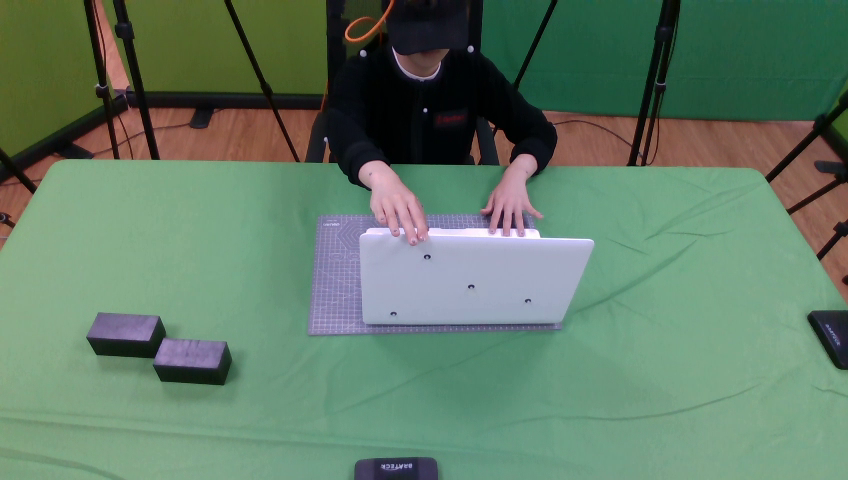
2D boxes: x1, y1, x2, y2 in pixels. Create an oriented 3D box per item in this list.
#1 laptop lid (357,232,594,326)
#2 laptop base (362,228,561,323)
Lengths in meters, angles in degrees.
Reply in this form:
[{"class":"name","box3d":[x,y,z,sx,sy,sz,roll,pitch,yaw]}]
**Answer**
[{"class":"laptop lid","box3d":[0.074,0.070,0.970,0.357,0.243,0.013,2,48,-4]},{"class":"laptop base","box3d":[0.064,0.063,1.143,0.355,0.023,0.234,0,42,-4]}]
